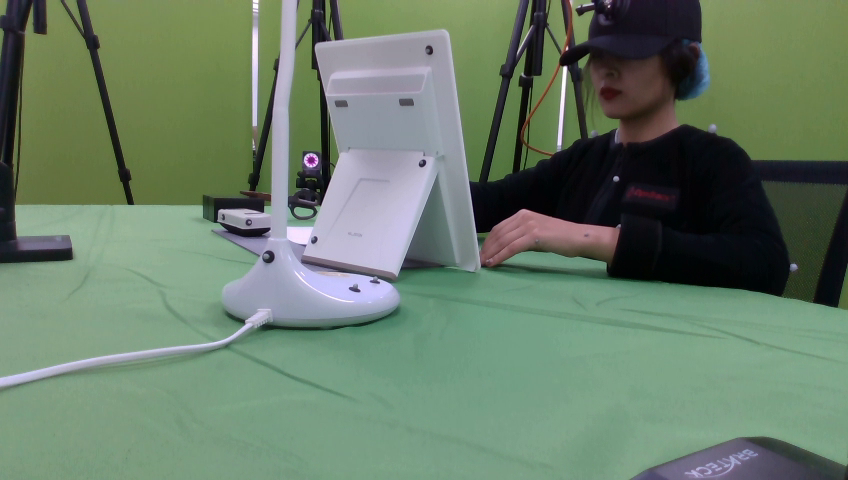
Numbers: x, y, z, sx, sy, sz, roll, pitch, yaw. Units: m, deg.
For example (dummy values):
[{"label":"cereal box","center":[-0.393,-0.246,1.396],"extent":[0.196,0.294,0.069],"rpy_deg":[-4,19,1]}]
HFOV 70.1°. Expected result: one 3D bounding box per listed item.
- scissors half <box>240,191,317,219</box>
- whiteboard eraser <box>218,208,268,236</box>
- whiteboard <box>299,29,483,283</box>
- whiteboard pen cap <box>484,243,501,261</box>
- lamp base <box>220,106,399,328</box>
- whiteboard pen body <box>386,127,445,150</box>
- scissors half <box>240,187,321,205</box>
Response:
[{"label":"scissors half","center":[-0.317,-0.079,1.326],"extent":[0.176,0.040,0.013],"rpy_deg":[18,16,-31]},{"label":"whiteboard eraser","center":[-0.309,-0.031,1.044],"extent":[0.056,0.042,0.112],"rpy_deg":[-2,9,-40]},{"label":"whiteboard","center":[-0.074,-0.082,0.742],"extent":[0.216,0.305,0.144],"rpy_deg":[9,29,38]},{"label":"whiteboard pen cap","center":[0.096,0.017,0.867],"extent":[0.018,0.018,0.033],"rpy_deg":[0,18,-15]},{"label":"lamp base","center":[-0.101,-0.023,0.531],"extent":[0.160,0.180,0.179],"rpy_deg":[4,10,10]},{"label":"whiteboard pen body","center":[-0.011,-0.142,0.841],"extent":[0.017,0.017,0.141],"rpy_deg":[7,3,32]},{"label":"scissors half","center":[-0.311,-0.097,1.319],"extent":[0.176,0.040,0.012],"rpy_deg":[-1,30,-25]}]
